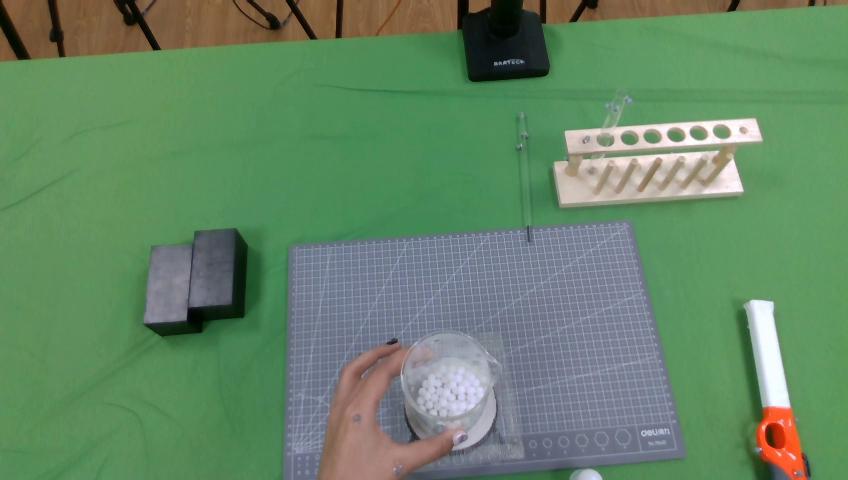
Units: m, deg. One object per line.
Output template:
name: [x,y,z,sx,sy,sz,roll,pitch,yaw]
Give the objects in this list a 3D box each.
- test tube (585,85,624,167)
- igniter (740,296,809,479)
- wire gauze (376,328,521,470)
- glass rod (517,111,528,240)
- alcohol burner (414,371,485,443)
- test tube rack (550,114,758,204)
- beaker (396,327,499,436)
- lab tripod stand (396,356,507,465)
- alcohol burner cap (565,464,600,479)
test tube: [0.221,-0.136,0.749,0.017,0.151,0.017,-1,63,2]
igniter: [0.397,0.196,0.688,0.057,0.025,0.274,7,66,-8]
wire gauze: [0.021,0.148,0.576,0.125,0.011,0.120,-7,65,-3]
glass rod: [0.134,-0.091,0.825,0.008,0.008,0.198,1,68,0]
alcohol burner: [0.028,0.175,0.649,0.078,0.120,0.077,0,64,-1]
test tube rack: [0.296,-0.103,0.788,0.242,0.086,0.066,-4,66,-1]
beaker: [0.022,0.126,0.526,0.084,0.101,0.073,-9,63,-1]
lab tripod stand: [0.023,0.179,0.636,0.148,0.132,0.147,-1,65,2]
alcohol burner cap: [0.174,0.258,0.655,0.034,0.048,0.033,0,65,1]
